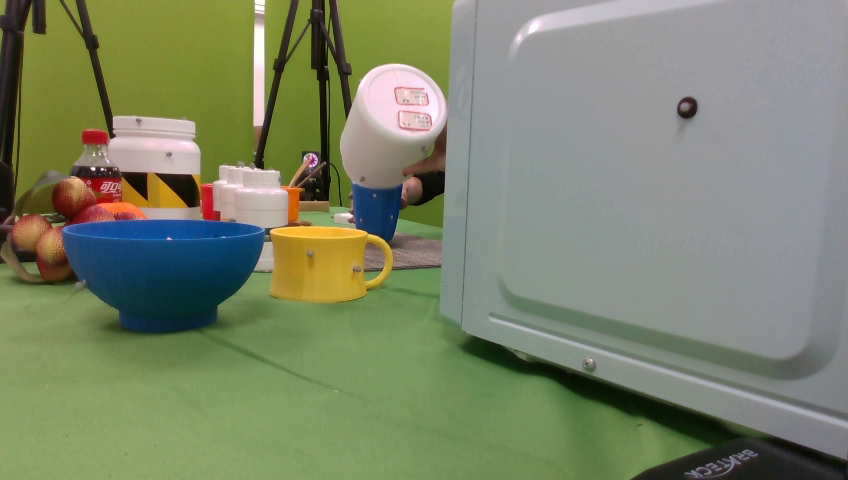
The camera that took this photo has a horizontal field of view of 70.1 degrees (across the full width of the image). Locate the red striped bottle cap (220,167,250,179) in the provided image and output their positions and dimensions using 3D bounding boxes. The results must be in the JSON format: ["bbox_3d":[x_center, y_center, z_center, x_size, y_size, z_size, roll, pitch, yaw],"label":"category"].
[{"bbox_3d":[-0.281,-0.100,0.901,0.044,0.017,0.044,0,5,0],"label":"red striped bottle cap"}]

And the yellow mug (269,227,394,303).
[{"bbox_3d":[-0.094,0.023,0.629,0.131,0.064,0.099,0,7,-22],"label":"yellow mug"}]

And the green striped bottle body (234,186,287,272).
[{"bbox_3d":[-0.200,-0.023,0.743,0.063,0.119,0.063,2,7,0],"label":"green striped bottle body"}]

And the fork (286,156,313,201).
[{"bbox_3d":[-0.288,-0.116,1.319,0.028,0.019,0.207,-8,45,33],"label":"fork"}]

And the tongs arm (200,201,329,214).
[{"bbox_3d":[-0.378,-0.079,1.440,0.387,0.026,0.050,-4,8,-44],"label":"tongs arm"}]

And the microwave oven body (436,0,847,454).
[{"bbox_3d":[0.279,-0.040,0.465,0.444,0.260,0.324,-3,9,-41],"label":"microwave oven body"}]

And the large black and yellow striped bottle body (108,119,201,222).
[{"bbox_3d":[-0.412,-0.088,0.930,0.131,0.184,0.130,3,7,0],"label":"large black and yellow striped bottle body"}]

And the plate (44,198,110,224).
[{"bbox_3d":[-0.617,-0.056,1.179,0.209,0.038,0.209,3,7,0],"label":"plate"}]

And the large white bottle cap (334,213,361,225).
[{"bbox_3d":[-0.145,-0.048,1.355,0.115,0.018,0.115,2,7,0],"label":"large white bottle cap"}]

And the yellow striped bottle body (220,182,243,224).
[{"bbox_3d":[-0.245,-0.036,0.825,0.063,0.120,0.063,3,8,0],"label":"yellow striped bottle body"}]

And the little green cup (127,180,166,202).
[{"bbox_3d":[-0.486,-0.086,1.061,0.061,0.038,0.061,1,7,0],"label":"little green cup"}]

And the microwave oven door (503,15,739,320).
[{"bbox_3d":[0.218,-0.065,0.601,0.358,0.243,0.039,-4,10,-41],"label":"microwave oven door"}]

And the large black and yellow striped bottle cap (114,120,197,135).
[{"bbox_3d":[-0.407,-0.171,0.920,0.115,0.019,0.115,2,9,0],"label":"large black and yellow striped bottle cap"}]

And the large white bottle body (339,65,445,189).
[{"bbox_3d":[-0.054,-0.159,0.912,0.131,0.130,0.184,0,-21,-19],"label":"large white bottle body"}]

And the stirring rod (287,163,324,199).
[{"bbox_3d":[-0.278,-0.105,1.293,0.176,0.006,0.014,-46,25,-18],"label":"stirring rod"}]

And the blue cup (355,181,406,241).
[{"bbox_3d":[-0.072,-0.055,1.006,0.093,0.100,0.092,1,20,0],"label":"blue cup"}]

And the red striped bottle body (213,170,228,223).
[{"bbox_3d":[-0.284,-0.047,0.909,0.063,0.119,0.063,2,13,0],"label":"red striped bottle body"}]

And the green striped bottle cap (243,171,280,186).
[{"bbox_3d":[-0.198,-0.074,0.736,0.044,0.020,0.044,1,7,0],"label":"green striped bottle cap"}]

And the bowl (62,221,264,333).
[{"bbox_3d":[-0.208,0.029,0.496,0.151,0.077,0.151,2,6,0],"label":"bowl"}]

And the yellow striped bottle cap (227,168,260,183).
[{"bbox_3d":[-0.243,-0.087,0.818,0.044,0.018,0.044,3,6,0],"label":"yellow striped bottle cap"}]

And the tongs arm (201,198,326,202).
[{"bbox_3d":[-0.433,-0.090,1.508,0.390,0.028,0.028,-1,2,-29],"label":"tongs arm"}]

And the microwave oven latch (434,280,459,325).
[{"bbox_3d":[0.044,0.045,0.470,0.079,0.029,0.030,-2,8,-39],"label":"microwave oven latch"}]

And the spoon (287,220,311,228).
[{"bbox_3d":[-0.232,-0.027,1.116,0.041,0.021,0.193,-22,6,4],"label":"spoon"}]
